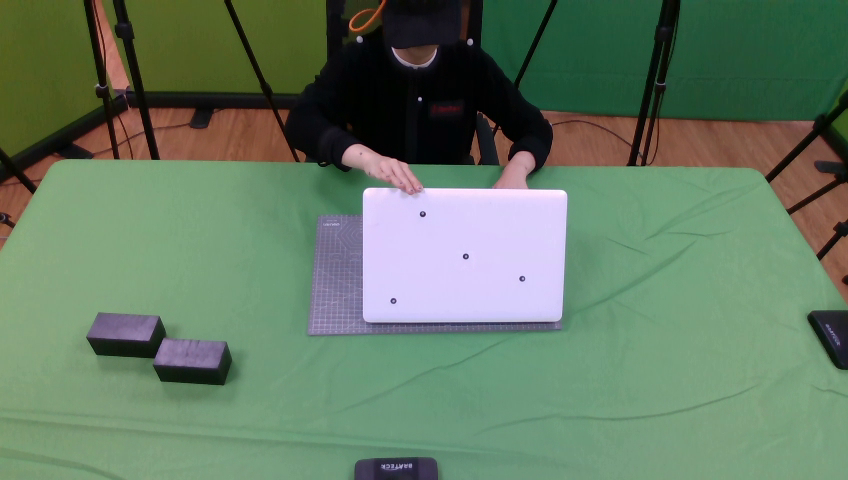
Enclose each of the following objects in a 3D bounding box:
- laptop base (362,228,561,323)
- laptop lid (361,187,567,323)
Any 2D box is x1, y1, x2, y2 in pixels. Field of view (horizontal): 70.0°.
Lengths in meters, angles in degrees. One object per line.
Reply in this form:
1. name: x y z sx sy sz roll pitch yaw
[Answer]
1. laptop base: 0.064 0.063 1.143 0.355 0.023 0.234 0 42 -4
2. laptop lid: 0.070 0.027 1.040 0.357 0.241 0.013 2 5 -3
